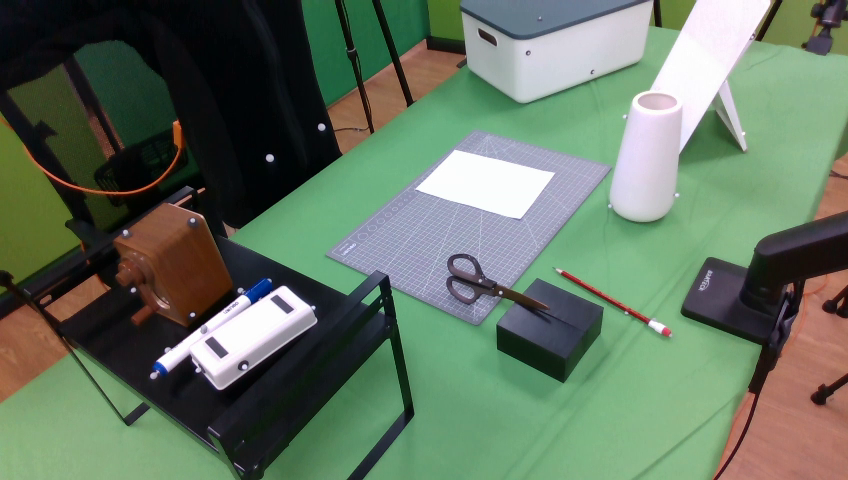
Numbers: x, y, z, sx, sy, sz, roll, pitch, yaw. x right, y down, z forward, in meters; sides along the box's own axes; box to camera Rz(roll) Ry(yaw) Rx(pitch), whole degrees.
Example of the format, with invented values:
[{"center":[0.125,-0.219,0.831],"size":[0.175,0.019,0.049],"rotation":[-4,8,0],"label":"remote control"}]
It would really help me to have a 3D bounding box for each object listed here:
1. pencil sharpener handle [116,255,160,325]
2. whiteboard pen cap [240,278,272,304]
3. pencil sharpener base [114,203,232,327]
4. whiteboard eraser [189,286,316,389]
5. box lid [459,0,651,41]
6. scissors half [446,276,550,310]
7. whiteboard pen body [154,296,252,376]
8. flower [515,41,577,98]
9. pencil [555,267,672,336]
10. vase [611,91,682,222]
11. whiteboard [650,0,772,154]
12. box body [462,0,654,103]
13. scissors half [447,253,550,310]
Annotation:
[{"center":[-0.286,0.050,0.594],"size":[0.035,0.068,0.031],"rotation":[7,41,35],"label":"pencil sharpener handle"},{"center":[-0.183,0.057,0.658],"size":[0.018,0.018,0.033],"rotation":[19,44,28],"label":"whiteboard pen cap"},{"center":[-0.262,0.029,0.635],"size":[0.061,0.107,0.077],"rotation":[18,47,26],"label":"pencil sharpener base"},{"center":[-0.166,0.096,0.593],"size":[0.113,0.042,0.055],"rotation":[-36,46,-29],"label":"whiteboard eraser"},{"center":[0.291,-0.524,1.327],"size":[0.373,0.015,0.261],"rotation":[-23,43,-18],"label":"box lid"},{"center":[0.098,0.077,0.827],"size":[0.174,0.040,0.013],"rotation":[6,14,44],"label":"scissors half"},{"center":[-0.214,0.088,0.619],"size":[0.017,0.017,0.141],"rotation":[19,42,28],"label":"whiteboard pen body"},{"center":[0.298,-0.410,1.413],"size":[0.044,0.038,0.362],"rotation":[-16,22,41],"label":"flower"},{"center":[0.260,0.082,0.850],"size":[0.012,0.012,0.192],"rotation":[-33,46,-27],"label":"pencil"},{"center":[0.348,-0.125,0.935],"size":[0.098,0.201,0.097],"rotation":[-3,40,3],"label":"vase"},{"center":[0.543,-0.298,1.076],"size":[0.144,0.305,0.216],"rotation":[12,40,-7],"label":"whiteboard"},{"center":[0.298,-0.468,1.374],"size":[0.365,0.161,0.252],"rotation":[-23,42,-18],"label":"box body"},{"center":[0.098,0.058,0.821],"size":[0.173,0.040,0.013],"rotation":[27,33,37],"label":"scissors half"}]
